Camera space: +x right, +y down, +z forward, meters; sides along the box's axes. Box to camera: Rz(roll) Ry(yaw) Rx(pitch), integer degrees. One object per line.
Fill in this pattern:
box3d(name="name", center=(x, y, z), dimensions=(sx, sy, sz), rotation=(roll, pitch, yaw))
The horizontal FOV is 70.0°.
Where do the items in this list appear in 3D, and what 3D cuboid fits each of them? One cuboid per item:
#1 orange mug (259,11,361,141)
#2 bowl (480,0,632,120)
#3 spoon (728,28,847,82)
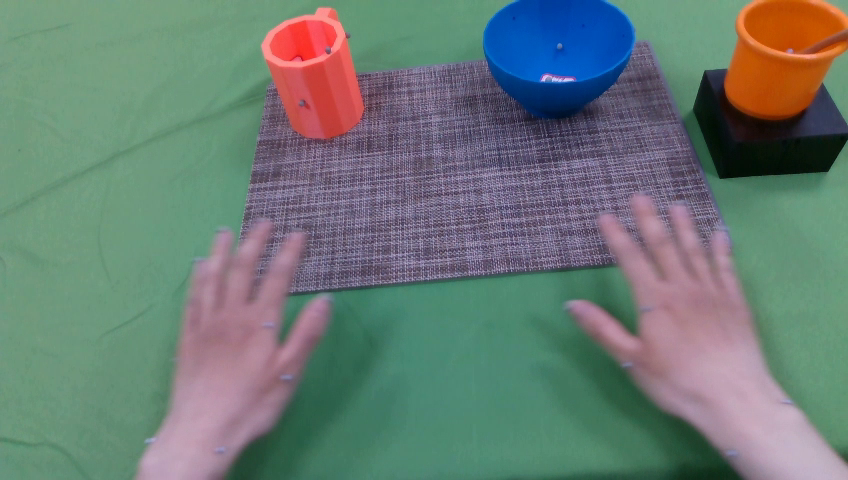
box3d(name="orange mug", center=(-0.116, -0.186, 0.660), dimensions=(0.083, 0.102, 0.125), rotation=(5, 59, 11))
box3d(name="bowl", center=(0.135, -0.180, 0.637), dimensions=(0.151, 0.077, 0.150), rotation=(-3, 53, 5))
box3d(name="spoon", center=(0.338, -0.162, 0.495), dimensions=(0.041, 0.193, 0.022), rotation=(-36, 101, -21))
